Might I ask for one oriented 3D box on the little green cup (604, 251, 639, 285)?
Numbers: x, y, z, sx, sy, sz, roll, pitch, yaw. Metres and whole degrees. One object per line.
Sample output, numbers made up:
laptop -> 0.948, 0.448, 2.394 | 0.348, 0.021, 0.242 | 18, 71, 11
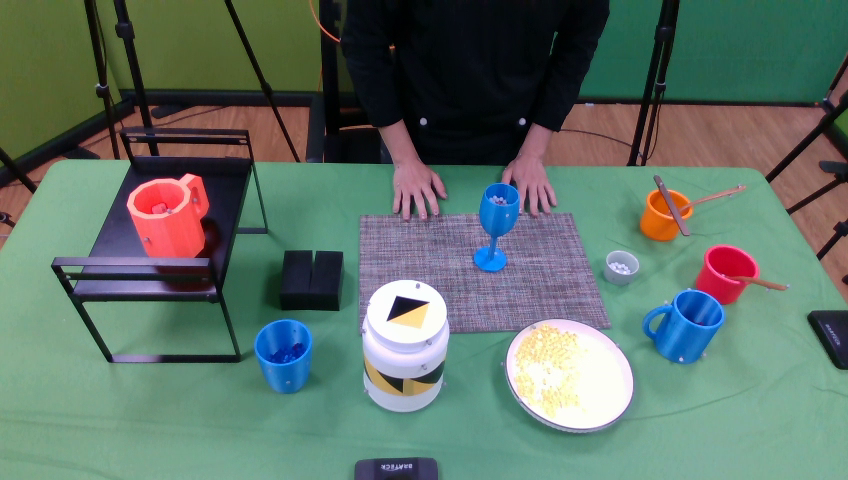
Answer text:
little green cup -> 0.375, 0.055, 1.162 | 0.061, 0.039, 0.061 | 2, 45, -2

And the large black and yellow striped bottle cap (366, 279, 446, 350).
large black and yellow striped bottle cap -> -0.025, 0.104, 0.864 | 0.115, 0.019, 0.114 | 3, 48, -3

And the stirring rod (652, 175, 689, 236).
stirring rod -> 0.491, -0.072, 1.211 | 0.014, 0.006, 0.175 | -1, 47, -6

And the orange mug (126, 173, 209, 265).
orange mug -> -0.371, -0.039, 0.902 | 0.083, 0.101, 0.126 | 18, 52, 14

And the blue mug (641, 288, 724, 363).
blue mug -> 0.432, 0.144, 1.033 | 0.116, 0.106, 0.082 | 8, 46, 5

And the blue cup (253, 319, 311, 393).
blue cup -> -0.217, 0.187, 0.943 | 0.093, 0.101, 0.092 | 4, 45, -3

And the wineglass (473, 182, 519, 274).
wineglass -> 0.131, -0.021, 1.117 | 0.074, 0.173, 0.073 | 2, 46, -2

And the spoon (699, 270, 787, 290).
spoon -> 0.567, 0.070, 1.087 | 0.042, 0.021, 0.193 | -12, 4, -13

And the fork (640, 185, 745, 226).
fork -> 0.534, -0.069, 1.215 | 0.207, 0.019, 0.028 | -26, 27, 33

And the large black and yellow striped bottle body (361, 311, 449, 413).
large black and yellow striped bottle body -> -0.031, 0.163, 0.924 | 0.131, 0.185, 0.130 | 2, 46, -2

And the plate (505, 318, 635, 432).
plate -> 0.235, 0.221, 0.991 | 0.209, 0.038, 0.208 | 2, 45, -2
